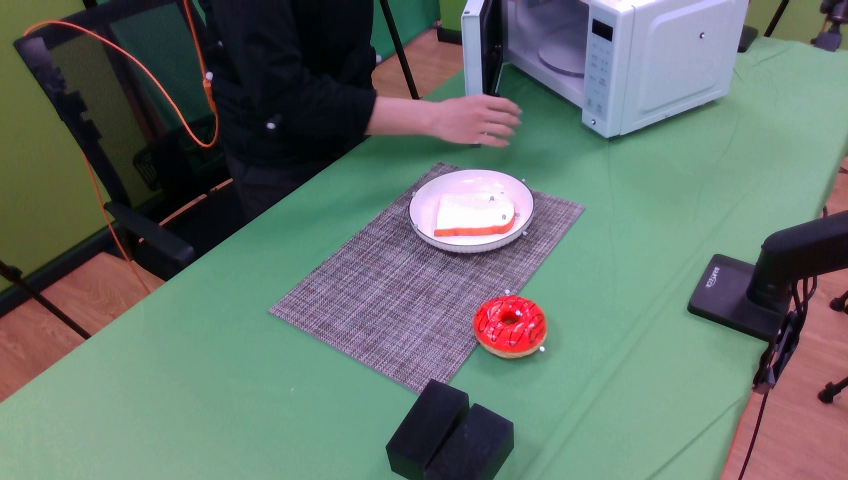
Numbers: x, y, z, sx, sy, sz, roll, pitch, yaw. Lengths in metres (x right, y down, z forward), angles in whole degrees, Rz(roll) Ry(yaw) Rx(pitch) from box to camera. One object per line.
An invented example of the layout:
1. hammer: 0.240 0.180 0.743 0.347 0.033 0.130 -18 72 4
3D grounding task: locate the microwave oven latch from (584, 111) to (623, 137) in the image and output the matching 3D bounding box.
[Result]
1. microwave oven latch: 0.337 -0.222 1.142 0.030 0.029 0.078 -21 42 -14

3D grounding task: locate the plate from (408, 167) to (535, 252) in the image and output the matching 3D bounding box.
1. plate: 0.078 -0.047 0.996 0.207 0.039 0.206 -4 41 4

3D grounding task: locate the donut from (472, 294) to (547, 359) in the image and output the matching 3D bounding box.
1. donut: 0.114 0.114 0.803 0.099 0.048 0.098 0 40 1

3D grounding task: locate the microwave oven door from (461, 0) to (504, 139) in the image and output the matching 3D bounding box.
1. microwave oven door: 0.124 -0.403 1.226 0.039 0.245 0.355 3 42 12

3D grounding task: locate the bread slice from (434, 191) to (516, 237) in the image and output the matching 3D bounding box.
1. bread slice: 0.086 -0.046 0.996 0.131 0.019 0.104 -1 41 7

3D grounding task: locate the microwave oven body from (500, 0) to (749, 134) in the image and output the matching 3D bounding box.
1. microwave oven body: 0.382 -0.445 1.246 0.327 0.261 0.437 -22 42 -16
